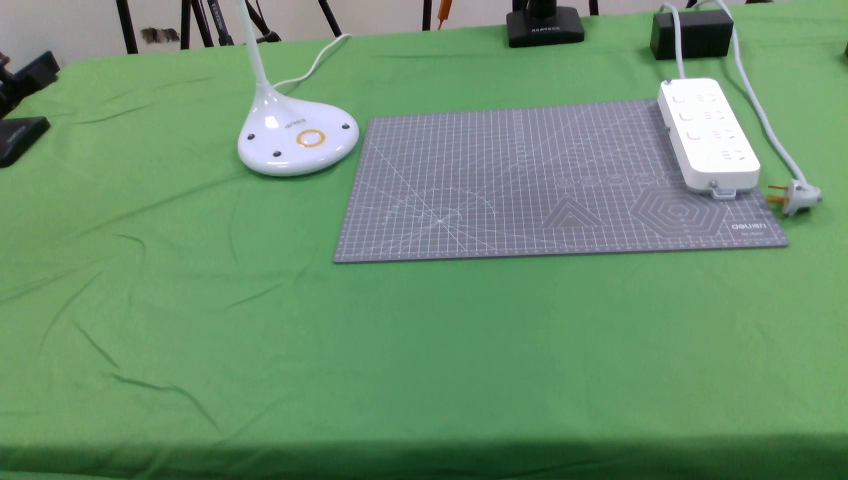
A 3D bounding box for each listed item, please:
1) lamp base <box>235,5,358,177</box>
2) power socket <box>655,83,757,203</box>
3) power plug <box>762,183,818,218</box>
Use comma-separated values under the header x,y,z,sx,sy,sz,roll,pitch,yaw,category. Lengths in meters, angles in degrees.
x,y,z,sx,sy,sz,roll,pitch,yaw,category
-0.185,-0.195,0.763,0.177,0.182,0.160,26,51,37,lamp base
0.325,-0.124,0.711,0.072,0.033,0.224,1,41,9,power socket
0.373,-0.041,0.626,0.052,0.035,0.072,11,9,15,power plug
